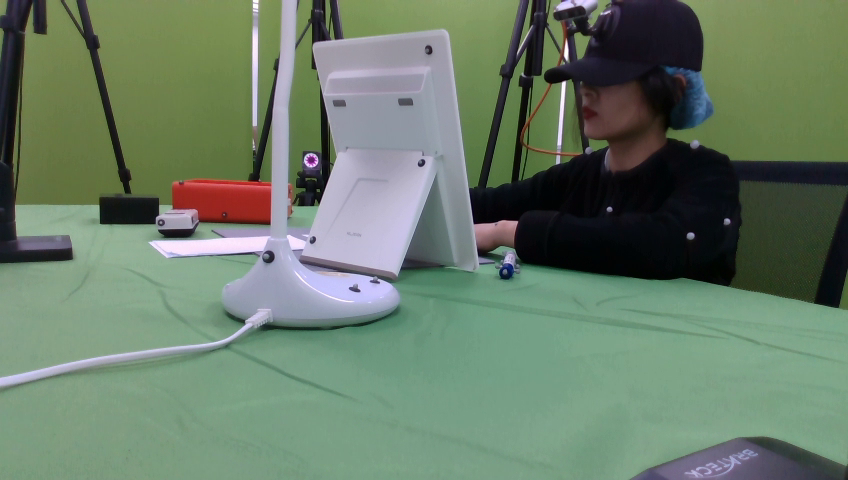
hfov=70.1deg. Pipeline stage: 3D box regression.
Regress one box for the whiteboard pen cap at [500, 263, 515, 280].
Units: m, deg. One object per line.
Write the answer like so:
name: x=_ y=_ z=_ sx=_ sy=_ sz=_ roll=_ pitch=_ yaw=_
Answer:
whiteboard pen cap: x=0.105 y=0.038 z=0.758 sx=0.018 sy=0.018 sz=0.033 roll=4 pitch=10 yaw=11

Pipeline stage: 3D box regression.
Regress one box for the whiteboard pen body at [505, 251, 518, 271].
whiteboard pen body: x=0.117 y=0.031 z=0.814 sx=0.017 sy=0.017 sz=0.141 roll=4 pitch=7 yaw=10

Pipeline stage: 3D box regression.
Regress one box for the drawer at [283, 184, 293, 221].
drawer: x=-0.396 y=-0.085 z=1.301 sx=0.212 sy=0.073 sz=0.194 roll=1 pitch=8 yaw=-7

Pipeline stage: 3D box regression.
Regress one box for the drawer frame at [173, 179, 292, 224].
drawer frame: x=-0.400 y=-0.086 z=1.300 sx=0.214 sy=0.082 sz=0.201 roll=1 pitch=8 yaw=-8

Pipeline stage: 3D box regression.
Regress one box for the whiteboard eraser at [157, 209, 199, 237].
whiteboard eraser: x=-0.411 y=-0.029 z=1.016 sx=0.056 sy=0.042 sz=0.112 roll=2 pitch=7 yaw=-16

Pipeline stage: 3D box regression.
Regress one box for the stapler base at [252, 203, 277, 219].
stapler base: x=-0.341 y=-0.065 z=1.301 sx=0.041 sy=0.024 sz=0.130 roll=15 pitch=5 yaw=-10

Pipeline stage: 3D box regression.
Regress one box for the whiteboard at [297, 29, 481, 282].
whiteboard: x=-0.075 y=-0.082 z=0.741 sx=0.216 sy=0.305 sz=0.144 roll=9 pitch=29 yaw=37

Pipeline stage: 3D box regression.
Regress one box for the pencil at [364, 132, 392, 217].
pencil: x=-0.082 y=-0.119 z=1.071 sx=0.012 sy=0.194 sz=0.012 roll=9 pitch=-33 yaw=6

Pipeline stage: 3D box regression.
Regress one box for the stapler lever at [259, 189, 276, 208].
stapler lever: x=-0.335 y=-0.090 z=1.300 sx=0.027 sy=0.040 sz=0.118 roll=15 pitch=4 yaw=-10

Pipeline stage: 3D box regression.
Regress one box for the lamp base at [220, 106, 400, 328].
lamp base: x=-0.101 y=-0.023 z=0.531 sx=0.160 sy=0.180 sz=0.179 roll=4 pitch=10 yaw=10
